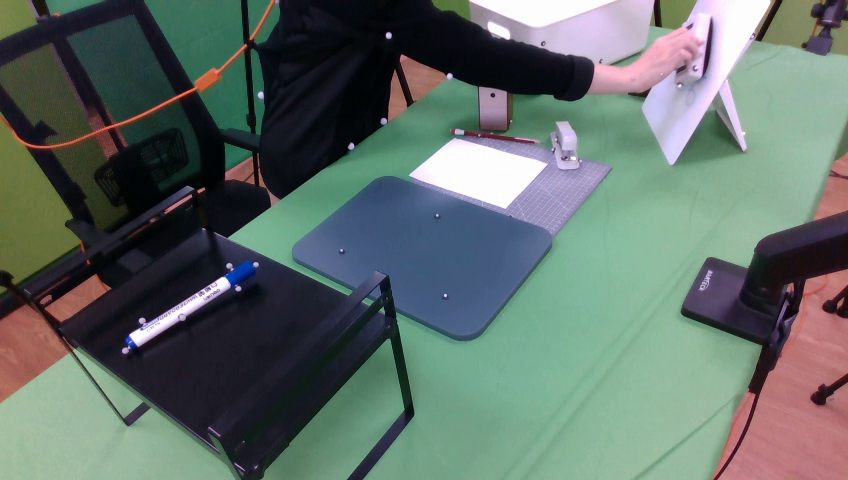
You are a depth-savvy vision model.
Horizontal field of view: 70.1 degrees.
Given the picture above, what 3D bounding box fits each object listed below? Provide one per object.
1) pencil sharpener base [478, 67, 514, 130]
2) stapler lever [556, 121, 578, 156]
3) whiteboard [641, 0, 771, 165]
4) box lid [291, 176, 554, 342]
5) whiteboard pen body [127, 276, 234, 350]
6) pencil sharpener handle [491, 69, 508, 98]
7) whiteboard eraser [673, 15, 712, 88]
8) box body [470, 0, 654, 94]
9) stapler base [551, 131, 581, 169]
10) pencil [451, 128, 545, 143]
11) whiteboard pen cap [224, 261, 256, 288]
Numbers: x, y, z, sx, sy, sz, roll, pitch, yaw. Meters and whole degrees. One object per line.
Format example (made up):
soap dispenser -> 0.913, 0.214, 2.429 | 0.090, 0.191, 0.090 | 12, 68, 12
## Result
pencil sharpener base -> 0.148, -0.287, 1.225 | 0.061, 0.107, 0.076 | 5, 42, 15
stapler lever -> 0.266, -0.198, 1.128 | 0.027, 0.040, 0.117 | 0, 38, 3
whiteboard -> 0.544, -0.299, 1.076 | 0.144, 0.305, 0.216 | 12, 40, -6
box lid -> -0.005, 0.011, 0.972 | 0.368, 0.015, 0.264 | 22, 49, 30
whiteboard pen body -> -0.250, 0.070, 0.649 | 0.141, 0.017, 0.017 | -36, 48, -26
pencil sharpener handle -> 0.155, -0.330, 1.254 | 0.036, 0.068, 0.030 | 17, 44, 3
whiteboard eraser -> 0.464, -0.324, 1.042 | 0.042, 0.112, 0.055 | 12, -5, -13
box body -> 0.319, -0.498, 1.405 | 0.365, 0.161, 0.252 | -26, 43, -21
stapler base -> 0.268, -0.178, 1.142 | 0.041, 0.024, 0.130 | 0, 37, 3
pencil -> 0.145, -0.207, 1.204 | 0.193, 0.012, 0.012 | 11, 44, 21
whiteboard pen cap -> -0.207, 0.039, 0.677 | 0.033, 0.018, 0.018 | -35, 47, -18
